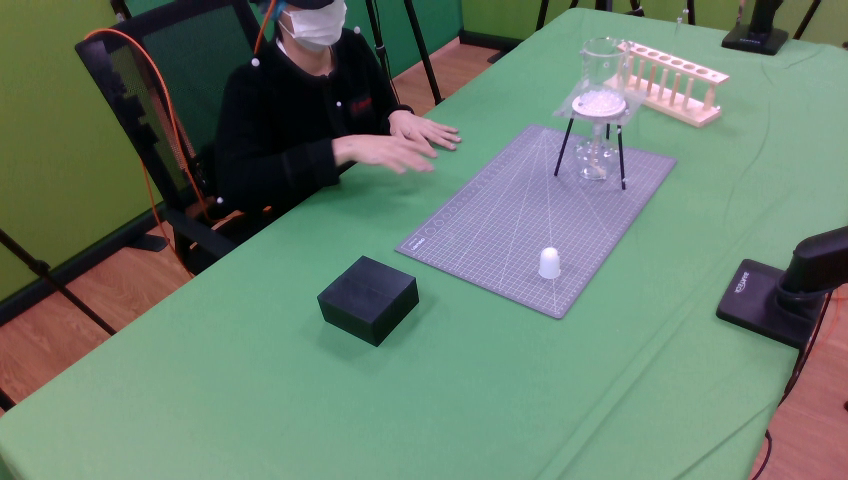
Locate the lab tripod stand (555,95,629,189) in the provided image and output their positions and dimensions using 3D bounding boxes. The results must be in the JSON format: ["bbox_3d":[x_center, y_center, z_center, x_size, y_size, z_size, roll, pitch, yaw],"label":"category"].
[{"bbox_3d":[0.300,-0.174,1.045,0.148,0.132,0.147,-5,38,5],"label":"lab tripod stand"}]

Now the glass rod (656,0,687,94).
[{"bbox_3d":[0.491,-0.381,1.199,0.008,0.200,0.008,1,41,0],"label":"glass rod"}]

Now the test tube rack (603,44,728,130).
[{"bbox_3d":[0.480,-0.316,1.227,0.067,0.085,0.240,-28,44,-22],"label":"test tube rack"}]

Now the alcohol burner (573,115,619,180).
[{"bbox_3d":[0.300,-0.164,1.048,0.078,0.119,0.077,-3,40,3],"label":"alcohol burner"}]

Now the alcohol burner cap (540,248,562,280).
[{"bbox_3d":[0.187,0.032,0.888,0.034,0.048,0.033,-4,40,4],"label":"alcohol burner cap"}]

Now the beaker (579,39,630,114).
[{"bbox_3d":[0.289,-0.263,0.975,0.073,0.101,0.084,17,45,27],"label":"beaker"}]

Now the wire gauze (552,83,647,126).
[{"bbox_3d":[0.293,-0.224,1.004,0.120,0.011,0.125,19,43,26],"label":"wire gauze"}]
